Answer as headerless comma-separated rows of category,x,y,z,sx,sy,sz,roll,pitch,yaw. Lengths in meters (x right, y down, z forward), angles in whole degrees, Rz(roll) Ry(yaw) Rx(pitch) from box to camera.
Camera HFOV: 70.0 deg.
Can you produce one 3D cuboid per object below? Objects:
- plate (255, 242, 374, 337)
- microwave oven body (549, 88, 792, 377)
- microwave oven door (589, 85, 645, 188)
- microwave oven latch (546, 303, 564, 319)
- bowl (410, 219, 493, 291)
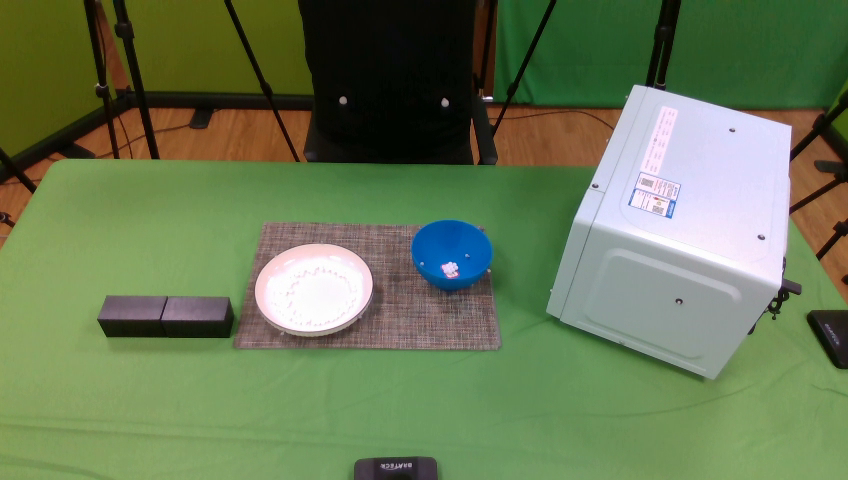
plate,-0.192,0.090,1.079,0.208,0.039,0.206,2,46,-2
microwave oven body,0.456,-0.028,1.088,0.325,0.261,0.440,20,47,16
microwave oven door,0.342,-0.107,1.149,0.039,0.245,0.354,21,48,15
microwave oven latch,0.242,0.102,1.081,0.030,0.029,0.079,22,48,17
bowl,0.048,0.041,1.117,0.151,0.077,0.150,2,46,-2
